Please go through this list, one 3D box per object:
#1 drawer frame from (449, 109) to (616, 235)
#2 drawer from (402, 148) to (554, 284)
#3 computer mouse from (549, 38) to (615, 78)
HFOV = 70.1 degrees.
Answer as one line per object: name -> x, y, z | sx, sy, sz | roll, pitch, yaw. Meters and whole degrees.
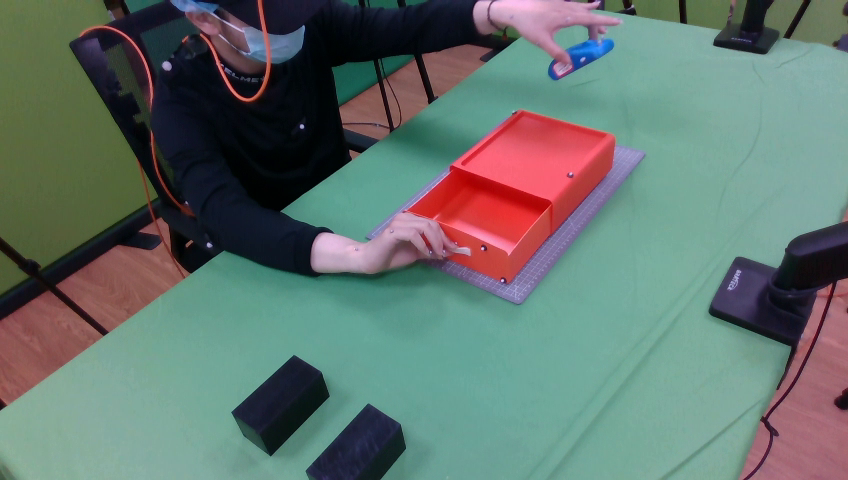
drawer frame -> 0.185, -0.124, 1.033 | 0.200, 0.083, 0.214 | 23, 49, 31
drawer -> 0.106, -0.049, 0.963 | 0.193, 0.073, 0.212 | 23, 50, 31
computer mouse -> 0.274, -0.325, 1.059 | 0.063, 0.041, 0.116 | -36, 16, -35
